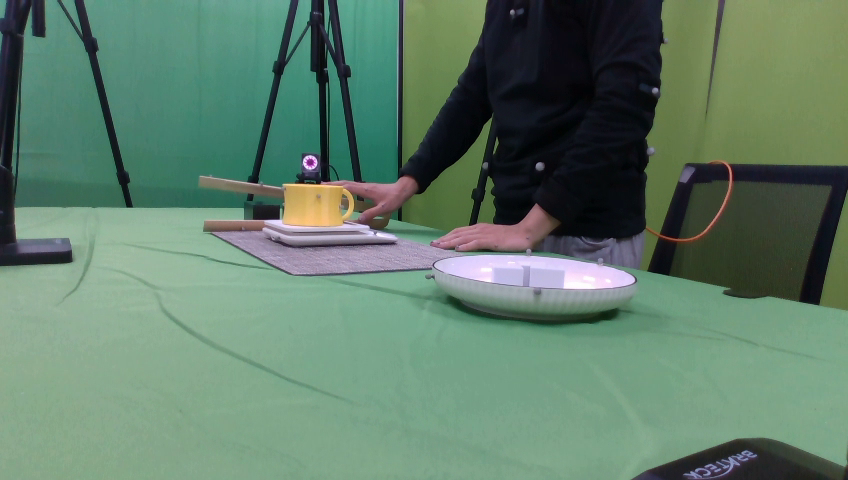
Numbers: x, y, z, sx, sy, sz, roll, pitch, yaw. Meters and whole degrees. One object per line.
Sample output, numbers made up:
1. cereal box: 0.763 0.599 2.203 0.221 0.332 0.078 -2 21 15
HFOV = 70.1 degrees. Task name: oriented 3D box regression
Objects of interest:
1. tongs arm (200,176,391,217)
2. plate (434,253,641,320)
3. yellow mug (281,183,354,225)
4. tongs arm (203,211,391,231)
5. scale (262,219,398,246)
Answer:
1. tongs arm: -0.258 -0.084 1.245 0.387 0.026 0.050 6 32 -22
2. plate: 0.114 0.047 0.626 0.208 0.039 0.207 2 7 0
3. yellow mug: -0.172 -0.061 1.009 0.131 0.064 0.099 -2 7 -41
4. tongs arm: -0.231 -0.036 1.185 0.390 0.028 0.028 -3 33 -33
5. scale: -0.160 -0.016 1.028 0.202 0.031 0.148 -1 9 -32
